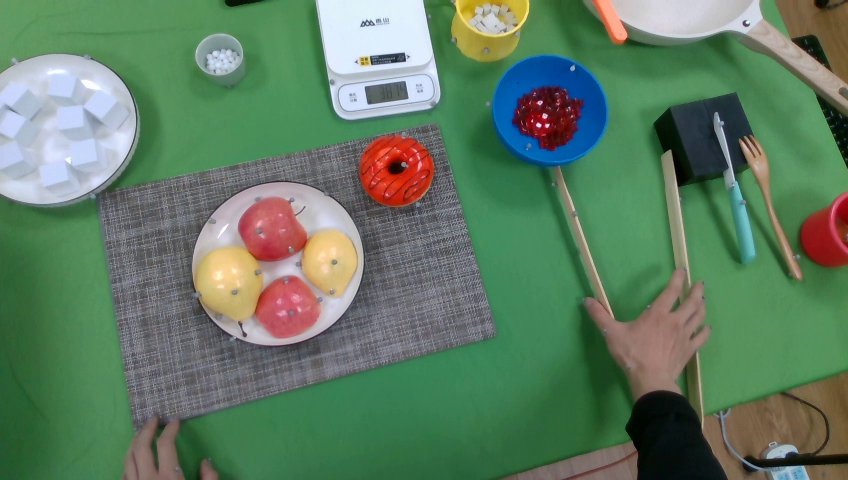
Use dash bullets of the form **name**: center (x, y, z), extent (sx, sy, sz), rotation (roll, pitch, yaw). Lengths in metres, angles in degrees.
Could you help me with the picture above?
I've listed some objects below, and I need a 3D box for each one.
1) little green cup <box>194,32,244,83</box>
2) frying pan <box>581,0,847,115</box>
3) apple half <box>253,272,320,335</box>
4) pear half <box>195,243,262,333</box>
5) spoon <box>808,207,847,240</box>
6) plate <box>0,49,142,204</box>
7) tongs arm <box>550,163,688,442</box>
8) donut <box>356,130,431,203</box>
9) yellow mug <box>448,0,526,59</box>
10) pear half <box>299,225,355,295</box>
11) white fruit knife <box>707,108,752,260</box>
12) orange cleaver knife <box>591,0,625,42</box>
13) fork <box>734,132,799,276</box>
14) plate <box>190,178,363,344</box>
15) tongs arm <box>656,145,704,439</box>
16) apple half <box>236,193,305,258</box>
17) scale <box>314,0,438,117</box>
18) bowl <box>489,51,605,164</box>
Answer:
- **little green cup**: center (-0.271, -0.242, 0.810), extent (0.061, 0.039, 0.061), rotation (1, 77, -4)
- **frying pan**: center (0.406, -0.339, 0.851), extent (0.306, 0.103, 0.485), rotation (-40, 75, -11)
- **apple half**: center (-0.170, 0.075, 0.733), extent (0.081, 0.033, 0.080), rotation (1, 70, -2)
- **pear half**: center (-0.228, 0.057, 0.720), extent (0.076, 0.056, 0.109), rotation (-19, 82, -17)
- **spoon**: center (0.567, 0.012, 0.763), extent (0.041, 0.022, 0.191), rotation (-19, 35, -9)
- **plate**: center (-0.465, -0.141, 0.773), extent (0.208, 0.039, 0.206), rotation (1, 77, -4)
- **tongs arm**: center (0.247, 0.072, 0.781), extent (0.051, 0.026, 0.383), rotation (-14, 79, -13)
- **donut**: center (-0.040, -0.096, 0.788), extent (0.099, 0.048, 0.098), rotation (0, 78, -2)
- **yellow mug**: center (0.075, -0.323, 0.841), extent (0.130, 0.064, 0.100), rotation (42, 78, 6)
- **pear half**: center (-0.123, 0.023, 0.751), extent (0.070, 0.031, 0.087), rotation (-15, 76, 6)
- **white fruit knife**: center (0.403, -0.074, 0.803), extent (0.016, 0.027, 0.207), rotation (-16, 93, -8)
- **orange cleaver knife**: center (0.232, -0.366, 0.824), extent (0.077, 0.012, 0.210), rotation (-23, 80, -12)
- **fork**: center (0.460, -0.047, 0.809), extent (0.028, 0.018, 0.207), rotation (-23, 95, -11)
- **plate**: center (-0.178, 0.026, 0.753), extent (0.209, 0.038, 0.208), rotation (1, 77, -4)
- **tongs arm**: center (0.331, 0.059, 0.796), extent (0.028, 0.028, 0.385), rotation (1, 77, -13)
- **apple half**: center (-0.192, -0.019, 0.744), extent (0.075, 0.053, 0.080), rotation (-26, 83, -6)
- **scale**: center (-0.067, -0.274, 0.837), extent (0.149, 0.031, 0.200), rotation (-9, 79, -6)
- **bowl**: center (0.155, -0.164, 0.805), extent (0.151, 0.077, 0.150), rotation (1, 78, -4)
